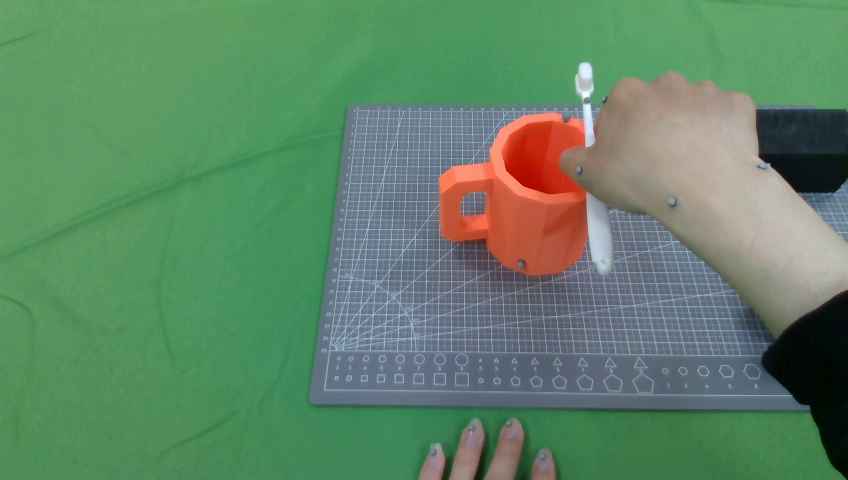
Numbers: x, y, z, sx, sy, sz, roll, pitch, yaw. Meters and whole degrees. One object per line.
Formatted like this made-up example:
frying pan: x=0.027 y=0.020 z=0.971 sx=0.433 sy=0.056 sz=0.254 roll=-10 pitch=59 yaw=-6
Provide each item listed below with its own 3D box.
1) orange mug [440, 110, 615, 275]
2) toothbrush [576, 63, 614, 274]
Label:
orange mug: x=0.074 y=-0.033 z=0.462 sx=0.126 sy=0.101 sz=0.082 roll=-4 pitch=57 yaw=-7
toothbrush: x=0.116 y=-0.057 z=0.413 sx=0.014 sy=0.017 sz=0.180 roll=3 pitch=57 yaw=4
